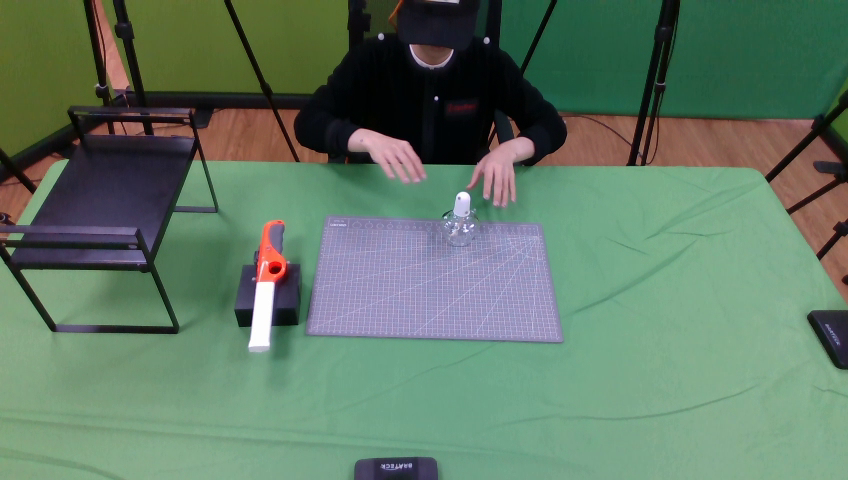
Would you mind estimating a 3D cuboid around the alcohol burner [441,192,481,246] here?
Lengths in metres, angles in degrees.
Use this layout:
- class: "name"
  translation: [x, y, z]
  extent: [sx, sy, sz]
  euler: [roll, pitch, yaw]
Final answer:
- class: "alcohol burner"
  translation: [0.073, -0.046, 1.176]
  extent: [0.078, 0.119, 0.077]
  euler: [2, 44, -2]

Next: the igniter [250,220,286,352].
- class: "igniter"
  translation: [-0.269, 0.068, 1.042]
  extent: [0.057, 0.025, 0.274]
  euler: [0, 48, -7]

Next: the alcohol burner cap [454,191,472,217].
- class: "alcohol burner cap"
  translation: [0.076, -0.071, 1.150]
  extent: [0.034, 0.048, 0.033]
  euler: [2, 42, -1]
